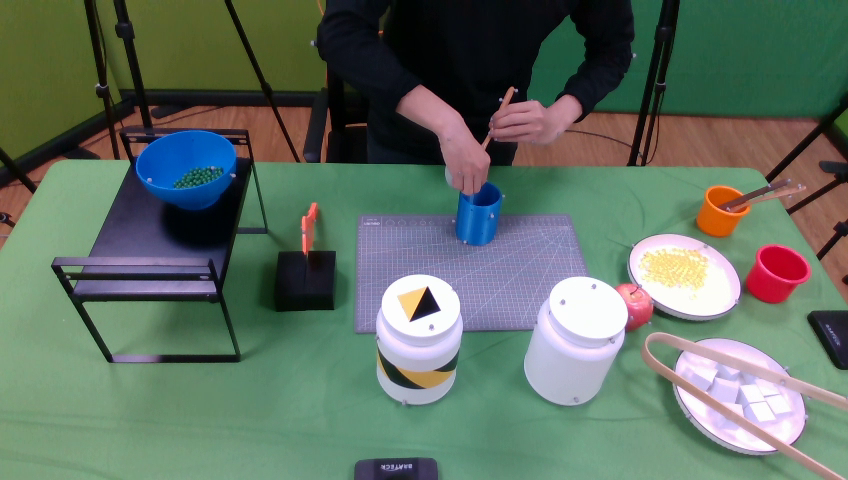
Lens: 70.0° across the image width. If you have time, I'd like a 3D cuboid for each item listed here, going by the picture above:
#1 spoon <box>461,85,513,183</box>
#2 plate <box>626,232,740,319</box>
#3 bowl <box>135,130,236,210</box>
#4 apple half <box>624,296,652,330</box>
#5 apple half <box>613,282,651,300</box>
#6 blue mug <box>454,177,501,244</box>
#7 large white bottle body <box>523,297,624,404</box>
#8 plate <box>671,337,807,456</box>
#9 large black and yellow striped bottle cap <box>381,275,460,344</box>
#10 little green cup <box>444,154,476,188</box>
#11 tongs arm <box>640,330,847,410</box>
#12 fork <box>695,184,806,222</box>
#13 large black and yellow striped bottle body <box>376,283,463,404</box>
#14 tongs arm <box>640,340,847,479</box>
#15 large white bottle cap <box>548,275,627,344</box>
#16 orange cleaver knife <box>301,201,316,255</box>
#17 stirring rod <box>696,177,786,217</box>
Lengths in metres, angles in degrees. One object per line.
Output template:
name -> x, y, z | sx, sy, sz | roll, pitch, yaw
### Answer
spoon -> 0.119, -0.197, 1.125 | 0.041, 0.022, 0.193 | 29, 94, 36
plate -> 0.489, 0.071, 1.157 | 0.209, 0.038, 0.208 | 3, 46, -3
bowl -> -0.375, -0.102, 0.977 | 0.151, 0.077, 0.150 | 2, 46, -2
apple half -> 0.368, 0.135, 1.060 | 0.081, 0.081, 0.032 | -11, 43, -15
apple half -> 0.356, 0.109, 1.086 | 0.081, 0.075, 0.053 | -13, 44, -12
blue mug -> 0.106, -0.067, 1.208 | 0.082, 0.106, 0.116 | 6, 46, 1
large white bottle body -> 0.235, 0.159, 0.952 | 0.131, 0.185, 0.130 | 2, 47, -2
plate -> 0.504, 0.254, 0.984 | 0.208, 0.039, 0.206 | 2, 46, -2
large black and yellow striped bottle cap -> -0.005, 0.098, 0.875 | 0.115, 0.019, 0.114 | 2, 45, -2
little green cup -> 0.068, -0.127, 1.139 | 0.038, 0.062, 0.061 | -13, 36, 34
tongs arm -> 0.543, 0.225, 0.969 | 0.384, 0.026, 0.050 | 22, 52, 13
fork -> 0.658, -0.074, 1.230 | 0.207, 0.019, 0.028 | -24, 34, 36
large black and yellow striped bottle body -> -0.010, 0.155, 0.937 | 0.131, 0.185, 0.130 | 2, 47, -2
tongs arm -> 0.500, 0.277, 0.919 | 0.386, 0.028, 0.028 | 34, 59, 22
large white bottle cap -> 0.240, 0.100, 0.890 | 0.115, 0.018, 0.114 | 3, 47, -3
orange cleaver knife -> -0.221, -0.027, 1.160 | 0.012, 0.077, 0.210 | -1, 15, -4
stirring rod -> 0.648, -0.087, 1.244 | 0.176, 0.006, 0.014 | -25, 50, 29
